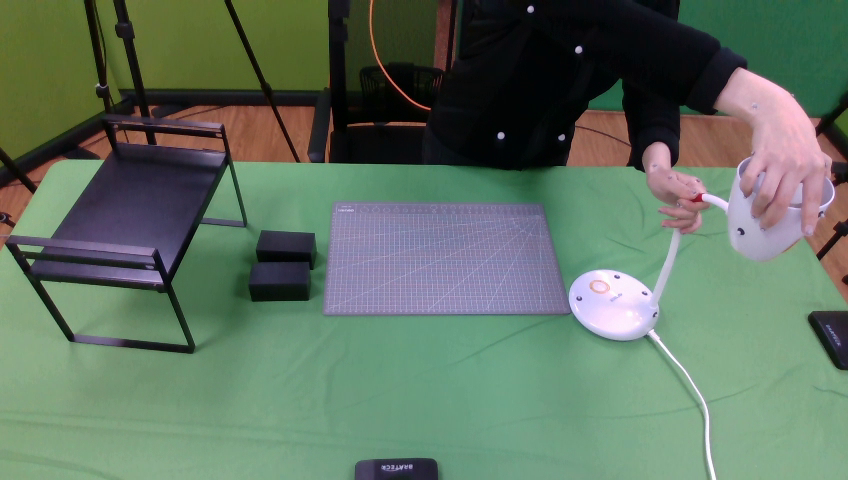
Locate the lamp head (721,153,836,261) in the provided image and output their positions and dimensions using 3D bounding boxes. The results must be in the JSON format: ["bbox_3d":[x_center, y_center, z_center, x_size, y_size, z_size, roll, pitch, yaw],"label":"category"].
[{"bbox_3d":[0.437,-0.036,0.774,0.112,0.123,0.111,1,47,-1],"label":"lamp head"}]

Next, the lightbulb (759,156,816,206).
[{"bbox_3d":[0.443,-0.053,0.756,0.059,0.108,0.059,1,37,-1],"label":"lightbulb"}]

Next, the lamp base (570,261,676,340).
[{"bbox_3d":[0.359,0.068,1.047,0.178,0.181,0.160,37,55,25],"label":"lamp base"}]
